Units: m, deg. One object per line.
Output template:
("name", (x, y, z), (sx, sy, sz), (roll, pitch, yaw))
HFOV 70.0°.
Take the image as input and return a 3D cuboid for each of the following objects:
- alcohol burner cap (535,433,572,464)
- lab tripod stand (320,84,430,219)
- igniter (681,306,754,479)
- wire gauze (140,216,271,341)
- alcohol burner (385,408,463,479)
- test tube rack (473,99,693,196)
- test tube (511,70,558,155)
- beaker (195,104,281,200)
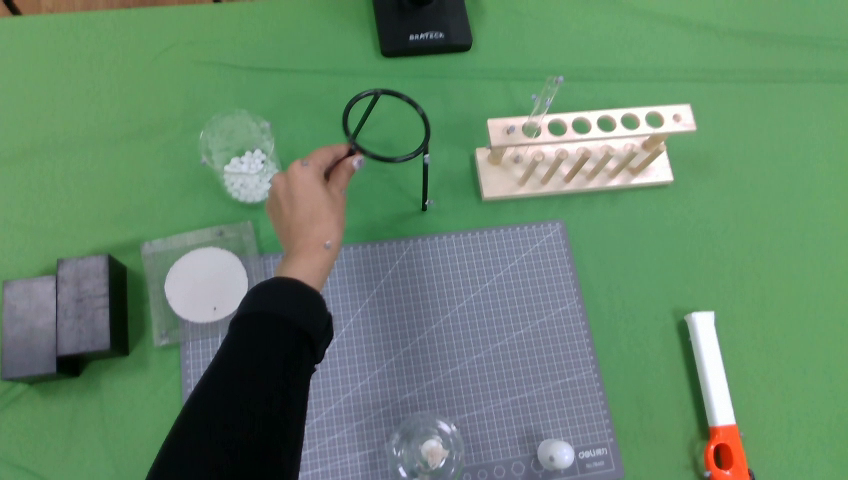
("alcohol burner cap", (0.138, 0.220, 0.637), (0.034, 0.048, 0.033), (1, 73, -5))
("lab tripod stand", (-0.055, -0.096, 0.659), (0.149, 0.132, 0.147), (6, 63, -11))
("igniter", (0.328, 0.210, 0.671), (0.057, 0.025, 0.275), (0, 73, -16))
("wire gauze", (-0.241, 0.041, 0.665), (0.125, 0.011, 0.120), (-12, 74, -9))
("alcohol burner", (0.002, 0.202, 0.590), (0.078, 0.119, 0.077), (2, 71, -6))
("test tube rack", (0.188, -0.109, 0.721), (0.243, 0.085, 0.066), (-6, 73, -8))
("test tube", (0.119, -0.136, 0.669), (0.017, 0.151, 0.017), (2, 69, -5))
("beaker", (-0.196, -0.089, 0.665), (0.074, 0.100, 0.083), (-38, 81, -15))
